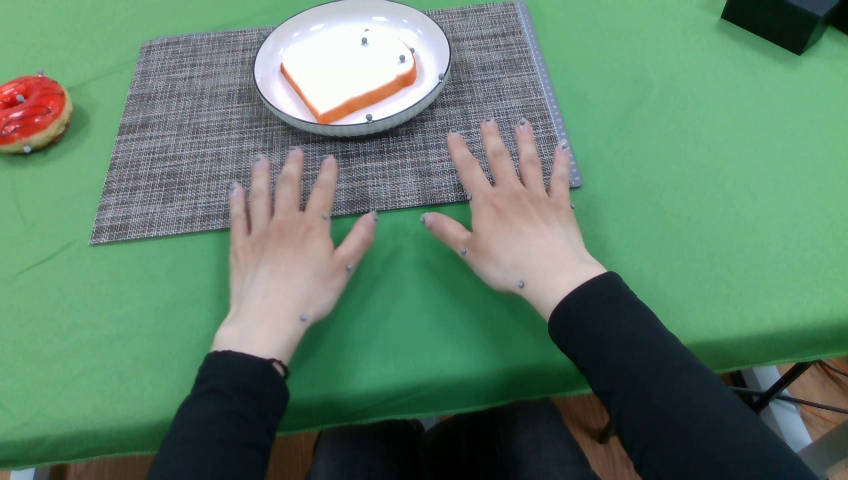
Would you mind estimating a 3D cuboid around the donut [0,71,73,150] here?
[{"bbox_3d":[-0.420,-0.137,0.635,0.099,0.049,0.098,-2,55,4],"label":"donut"}]

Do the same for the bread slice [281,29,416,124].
[{"bbox_3d":[-0.077,-0.184,0.652,0.131,0.019,0.104,-28,59,-15],"label":"bread slice"}]

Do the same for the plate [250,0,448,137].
[{"bbox_3d":[-0.077,-0.181,0.648,0.207,0.039,0.205,-1,55,2],"label":"plate"}]
